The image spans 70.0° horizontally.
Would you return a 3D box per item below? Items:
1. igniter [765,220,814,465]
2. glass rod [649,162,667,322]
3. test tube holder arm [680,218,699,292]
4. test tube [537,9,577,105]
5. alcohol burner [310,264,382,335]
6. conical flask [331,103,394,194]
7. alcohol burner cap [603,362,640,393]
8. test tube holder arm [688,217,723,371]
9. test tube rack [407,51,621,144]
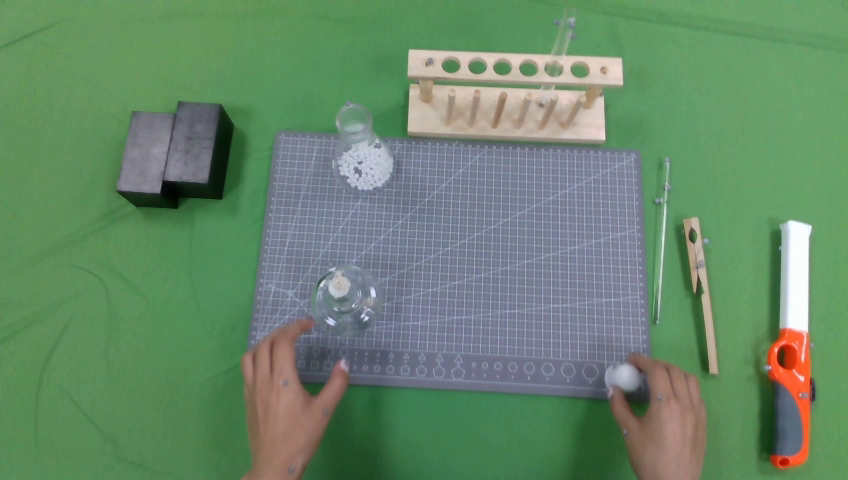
[{"bbox_3d":[0.410,0.110,0.678,0.057,0.025,0.275,13,74,-7],"label":"igniter"},{"bbox_3d":[0.278,0.000,0.717,0.008,0.008,0.199,10,77,2],"label":"glass rod"},{"bbox_3d":[0.313,0.018,0.709,0.010,0.015,0.087,-14,71,33],"label":"test tube holder arm"},{"bbox_3d":[0.147,-0.200,0.681,0.017,0.151,0.017,0,68,0],"label":"test tube"},{"bbox_3d":[-0.085,0.059,0.636,0.078,0.120,0.077,0,72,1],"label":"alcohol burner"},{"bbox_3d":[-0.073,-0.106,0.679,0.075,0.122,0.075,0,73,-1],"label":"conical flask"},{"bbox_3d":[0.215,0.147,0.654,0.034,0.048,0.033,0,75,0],"label":"alcohol burner cap"},{"bbox_3d":[0.321,0.060,0.693,0.013,0.015,0.177,-15,71,33],"label":"test tube holder arm"},{"bbox_3d":[0.102,-0.168,0.722,0.242,0.085,0.066,2,74,0],"label":"test tube rack"}]
